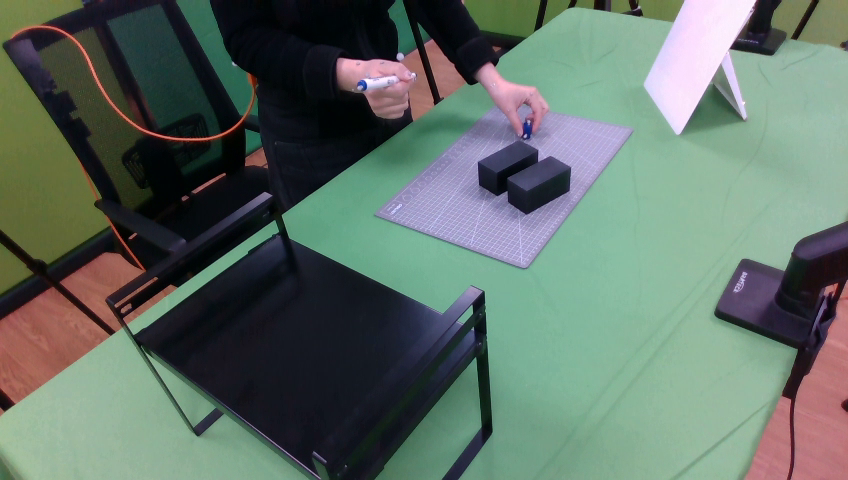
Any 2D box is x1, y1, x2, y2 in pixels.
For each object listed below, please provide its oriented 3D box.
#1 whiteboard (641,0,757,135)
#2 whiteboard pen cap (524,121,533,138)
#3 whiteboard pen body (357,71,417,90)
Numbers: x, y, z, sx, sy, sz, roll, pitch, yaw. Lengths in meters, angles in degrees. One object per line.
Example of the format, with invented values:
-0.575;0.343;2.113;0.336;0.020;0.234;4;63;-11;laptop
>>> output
0.575;-0.367;1.147;0.144;0.305;0.216;10;39;-9;whiteboard
0.205;-0.215;1.184;0.018;0.033;0.018;-5;45;5;whiteboard pen cap
-0.050;-0.237;0.891;0.017;0.017;0.141;19;29;28;whiteboard pen body
